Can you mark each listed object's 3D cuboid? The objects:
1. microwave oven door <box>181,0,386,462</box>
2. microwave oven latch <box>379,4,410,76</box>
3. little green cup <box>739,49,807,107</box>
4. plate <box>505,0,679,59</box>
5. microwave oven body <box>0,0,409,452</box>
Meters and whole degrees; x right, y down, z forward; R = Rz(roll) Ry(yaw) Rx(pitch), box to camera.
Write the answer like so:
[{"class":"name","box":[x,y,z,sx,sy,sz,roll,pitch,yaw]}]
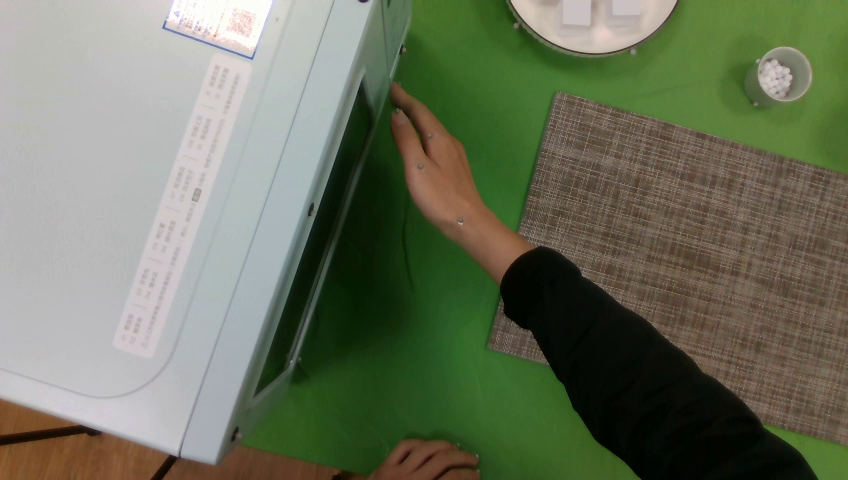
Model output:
[{"class":"microwave oven door","box":[-0.109,-0.011,0.539,0.039,0.244,0.355,18,88,-1]},{"class":"microwave oven latch","box":[-0.040,-0.216,0.647,0.030,0.029,0.079,22,89,-2]},{"class":"little green cup","box":[0.391,-0.180,0.684,0.061,0.038,0.061,0,88,-2]},{"class":"plate","box":[0.183,-0.302,0.677,0.208,0.039,0.207,0,89,-3]},{"class":"microwave oven body","box":[-0.233,-0.099,0.540,0.326,0.260,0.441,19,89,-2]}]
